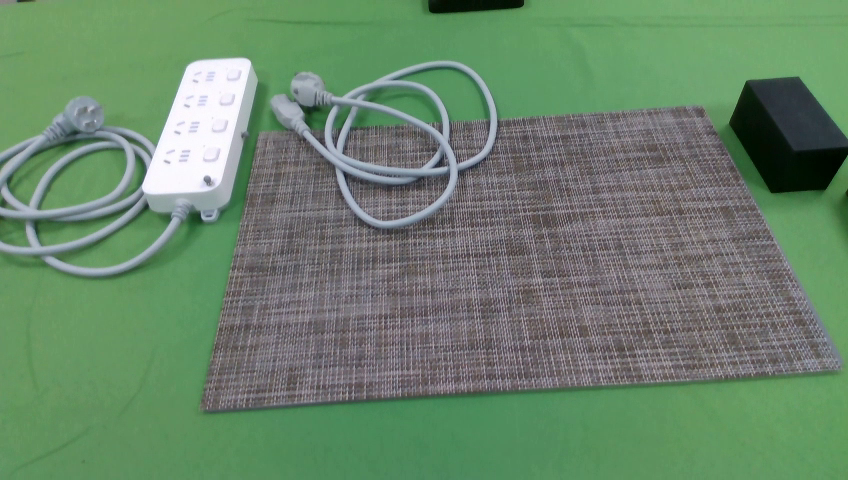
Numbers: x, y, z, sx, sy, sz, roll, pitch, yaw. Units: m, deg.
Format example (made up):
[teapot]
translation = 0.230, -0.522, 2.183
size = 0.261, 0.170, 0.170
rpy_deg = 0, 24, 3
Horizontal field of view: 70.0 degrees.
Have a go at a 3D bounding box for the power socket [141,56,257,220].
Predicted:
[power socket]
translation = -0.216, -0.112, 0.600
size = 0.072, 0.033, 0.224
rpy_deg = -3, 50, 1

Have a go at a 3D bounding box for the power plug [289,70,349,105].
[power plug]
translation = -0.107, -0.151, 0.633
size = 0.072, 0.035, 0.052
rpy_deg = 26, 30, 3
